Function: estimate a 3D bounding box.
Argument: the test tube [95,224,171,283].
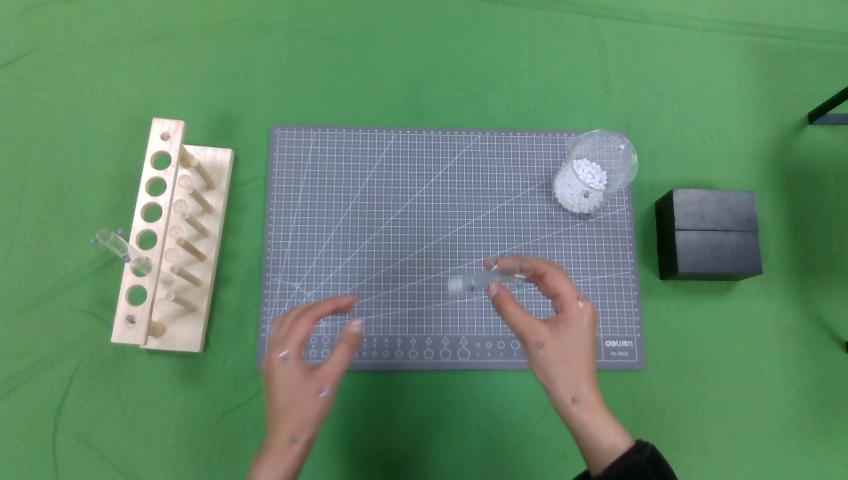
[{"bbox_3d":[-0.291,0.017,0.615,0.017,0.151,0.017,1,70,-1],"label":"test tube"}]

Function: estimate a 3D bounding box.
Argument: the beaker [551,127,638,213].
[{"bbox_3d":[0.191,-0.079,0.708,0.084,0.100,0.074,32,77,6],"label":"beaker"}]

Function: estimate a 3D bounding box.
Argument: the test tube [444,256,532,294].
[{"bbox_3d":[0.053,0.034,0.548,0.017,0.150,0.017,4,78,-21],"label":"test tube"}]

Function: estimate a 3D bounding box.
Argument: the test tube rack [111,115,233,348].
[{"bbox_3d":[-0.273,-0.006,0.672,0.067,0.085,0.241,5,77,-2],"label":"test tube rack"}]
